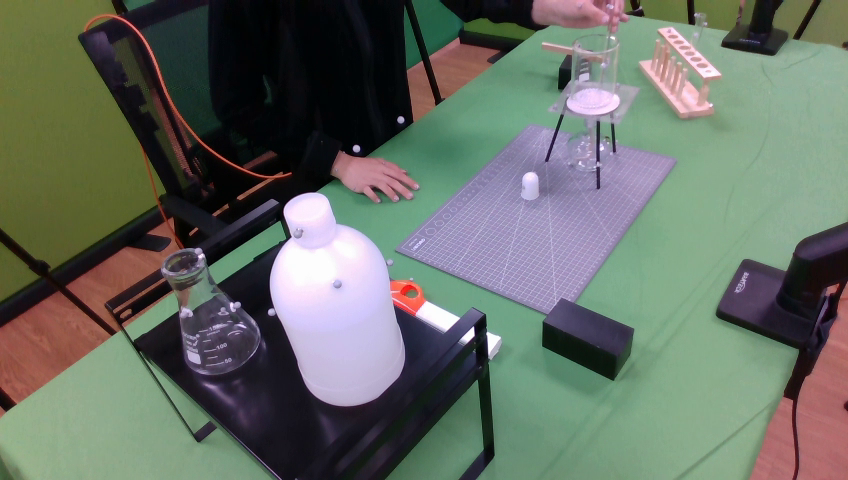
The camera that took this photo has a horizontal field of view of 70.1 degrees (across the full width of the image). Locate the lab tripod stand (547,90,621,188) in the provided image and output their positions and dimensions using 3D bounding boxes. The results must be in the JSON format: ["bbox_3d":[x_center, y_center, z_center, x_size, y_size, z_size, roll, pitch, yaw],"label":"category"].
[{"bbox_3d":[0.289,-0.184,1.062,0.148,0.132,0.147,-6,41,6],"label":"lab tripod stand"}]

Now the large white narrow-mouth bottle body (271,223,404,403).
[{"bbox_3d":[-0.077,0.048,0.525,0.102,0.195,0.101,-5,40,4],"label":"large white narrow-mouth bottle body"}]

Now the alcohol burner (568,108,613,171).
[{"bbox_3d":[0.296,-0.182,1.074,0.078,0.119,0.077,-5,43,5],"label":"alcohol burner"}]

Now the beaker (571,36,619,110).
[{"bbox_3d":[0.280,-0.273,0.992,0.084,0.101,0.073,-24,42,-16],"label":"beaker"}]

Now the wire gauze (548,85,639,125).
[{"bbox_3d":[0.286,-0.233,1.020,0.124,0.011,0.122,15,43,30],"label":"wire gauze"}]

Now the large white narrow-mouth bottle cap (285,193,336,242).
[{"bbox_3d":[-0.087,-0.018,0.467,0.038,0.024,0.037,-4,40,4],"label":"large white narrow-mouth bottle cap"}]

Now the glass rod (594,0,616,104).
[{"bbox_3d":[0.286,-0.309,0.948,0.008,0.200,0.008,0,36,1],"label":"glass rod"}]

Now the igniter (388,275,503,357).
[{"bbox_3d":[-0.008,0.093,0.870,0.274,0.025,0.057,24,60,33],"label":"igniter"}]

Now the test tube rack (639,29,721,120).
[{"bbox_3d":[0.527,-0.351,1.262,0.067,0.085,0.241,-8,40,1],"label":"test tube rack"}]

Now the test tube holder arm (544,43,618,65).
[{"bbox_3d":[0.345,-0.413,1.341,0.177,0.015,0.013,26,49,32],"label":"test tube holder arm"}]

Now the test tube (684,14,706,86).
[{"bbox_3d":[0.541,-0.378,1.215,0.017,0.151,0.017,-2,44,3],"label":"test tube"}]

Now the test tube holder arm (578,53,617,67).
[{"bbox_3d":[0.376,-0.394,1.314,0.087,0.015,0.010,26,49,32],"label":"test tube holder arm"}]

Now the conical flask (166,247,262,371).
[{"bbox_3d":[-0.209,0.064,0.585,0.075,0.122,0.075,-4,40,4],"label":"conical flask"}]

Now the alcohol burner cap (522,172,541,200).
[{"bbox_3d":[0.186,-0.096,1.047,0.034,0.048,0.033,-5,39,4],"label":"alcohol burner cap"}]
